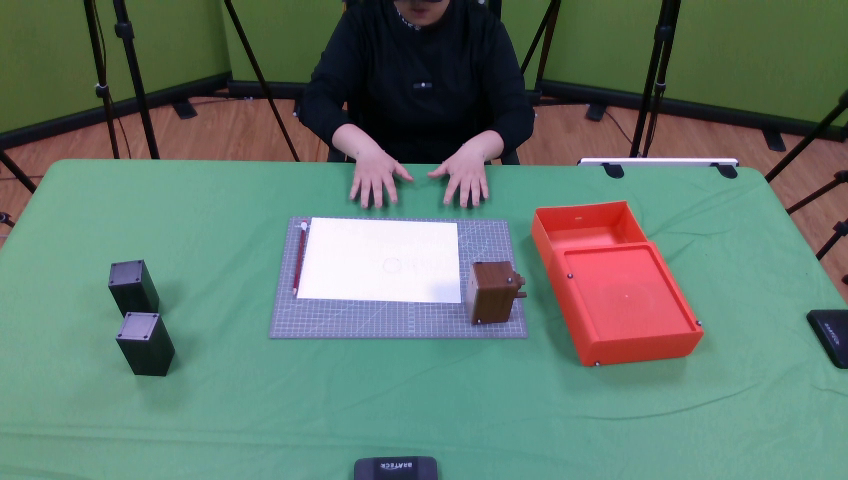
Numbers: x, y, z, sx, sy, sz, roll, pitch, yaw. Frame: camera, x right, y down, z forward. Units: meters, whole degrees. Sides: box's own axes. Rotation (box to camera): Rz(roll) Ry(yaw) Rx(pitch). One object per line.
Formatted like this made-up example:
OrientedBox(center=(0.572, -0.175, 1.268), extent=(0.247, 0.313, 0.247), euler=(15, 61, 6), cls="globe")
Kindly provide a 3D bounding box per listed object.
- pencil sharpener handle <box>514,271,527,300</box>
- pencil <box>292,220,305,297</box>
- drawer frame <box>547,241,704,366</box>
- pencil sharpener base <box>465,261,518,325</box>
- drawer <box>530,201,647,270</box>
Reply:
OrientedBox(center=(0.168, 0.081, 1.051), extent=(0.031, 0.068, 0.035), euler=(-3, 49, -7), cls="pencil sharpener handle")
OrientedBox(center=(-0.240, 0.032, 1.152), extent=(0.012, 0.012, 0.193), euler=(0, 47, -4), cls="pencil")
OrientedBox(center=(0.348, 0.106, 1.077), extent=(0.202, 0.083, 0.212), euler=(-4, 47, -9), cls="drawer frame")
OrientedBox(center=(0.117, 0.092, 1.052), extent=(0.077, 0.107, 0.061), euler=(-3, 46, -7), cls="pencil sharpener base")
OrientedBox(center=(0.329, 0.025, 1.159), extent=(0.195, 0.073, 0.210), euler=(-5, 46, -9), cls="drawer")
